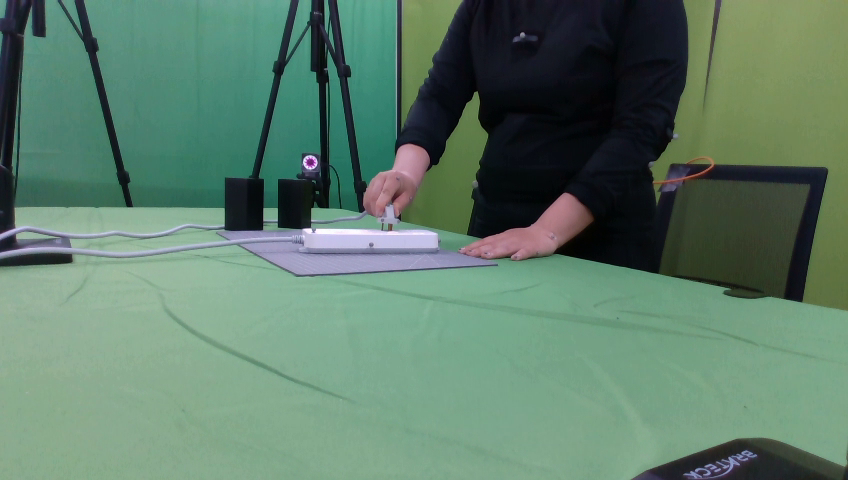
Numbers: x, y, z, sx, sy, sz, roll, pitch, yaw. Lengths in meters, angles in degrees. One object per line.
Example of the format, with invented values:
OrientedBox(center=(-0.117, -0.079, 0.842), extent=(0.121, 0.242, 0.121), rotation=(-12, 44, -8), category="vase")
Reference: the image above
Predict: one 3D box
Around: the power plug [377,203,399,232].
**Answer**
OrientedBox(center=(-0.058, -0.033, 0.978), extent=(0.035, 0.052, 0.072), rotation=(4, 3, -3), category="power plug")

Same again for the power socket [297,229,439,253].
OrientedBox(center=(-0.084, 0.001, 0.941), extent=(0.228, 0.032, 0.072), rotation=(0, 6, -20), category="power socket")
